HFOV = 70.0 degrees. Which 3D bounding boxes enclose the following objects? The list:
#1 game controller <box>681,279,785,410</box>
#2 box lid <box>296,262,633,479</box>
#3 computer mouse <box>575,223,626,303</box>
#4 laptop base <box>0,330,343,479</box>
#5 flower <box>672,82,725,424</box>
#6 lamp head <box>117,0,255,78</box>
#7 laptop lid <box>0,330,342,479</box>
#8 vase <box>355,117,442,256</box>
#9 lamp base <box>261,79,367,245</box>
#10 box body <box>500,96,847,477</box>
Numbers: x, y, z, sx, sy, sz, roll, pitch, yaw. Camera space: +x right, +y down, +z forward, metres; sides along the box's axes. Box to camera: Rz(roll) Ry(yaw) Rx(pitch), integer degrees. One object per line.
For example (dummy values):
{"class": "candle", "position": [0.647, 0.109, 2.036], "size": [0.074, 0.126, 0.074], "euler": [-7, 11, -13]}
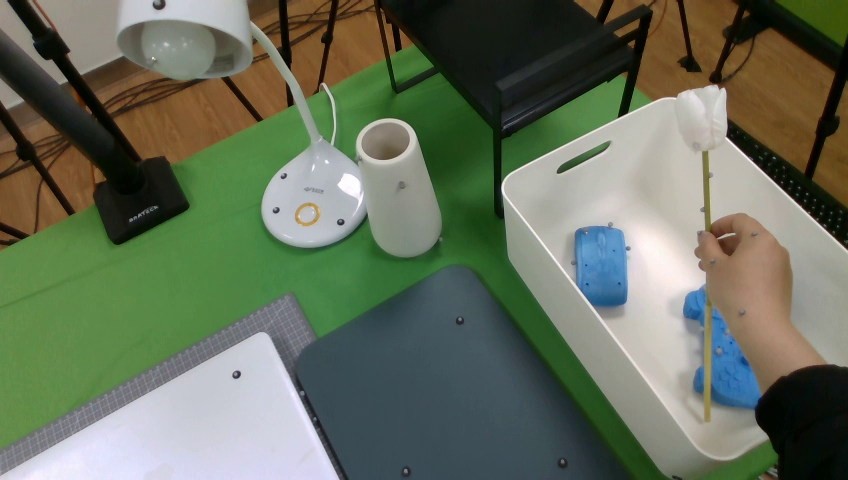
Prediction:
{"class": "game controller", "position": [0.354, 0.113, 0.696], "size": [0.097, 0.052, 0.154], "euler": [1, 58, 9]}
{"class": "box lid", "position": [0.033, 0.209, 0.701], "size": [0.263, 0.015, 0.367], "euler": [-29, 60, -12]}
{"class": "computer mouse", "position": [0.223, 0.025, 0.768], "size": [0.062, 0.041, 0.116], "euler": [3, 56, 11]}
{"class": "laptop base", "position": [-0.291, 0.281, 0.690], "size": [0.354, 0.023, 0.233], "euler": [-29, 64, -11]}
{"class": "flower", "position": [0.283, 0.028, 0.605], "size": [0.044, 0.363, 0.038], "euler": [-9, 17, 9]}
{"class": "lamp head", "position": [-0.206, -0.217, 0.535], "size": [0.112, 0.113, 0.122], "euler": [-3, 76, 5]}
{"class": "laptop lid", "position": [-0.291, 0.277, 0.679], "size": [0.357, 0.013, 0.239], "euler": [-28, 62, -10]}
{"class": "vase", "position": [-0.033, -0.063, 0.763], "size": [0.098, 0.202, 0.097], "euler": [-4, 58, 7]}
{"class": "lamp base", "position": [-0.165, -0.112, 0.819], "size": [0.160, 0.182, 0.177], "euler": [0, 56, 6]}
{"class": "box body", "position": [0.280, 0.046, 0.683], "size": [0.254, 0.162, 0.360], "euler": [-27, 60, -9]}
